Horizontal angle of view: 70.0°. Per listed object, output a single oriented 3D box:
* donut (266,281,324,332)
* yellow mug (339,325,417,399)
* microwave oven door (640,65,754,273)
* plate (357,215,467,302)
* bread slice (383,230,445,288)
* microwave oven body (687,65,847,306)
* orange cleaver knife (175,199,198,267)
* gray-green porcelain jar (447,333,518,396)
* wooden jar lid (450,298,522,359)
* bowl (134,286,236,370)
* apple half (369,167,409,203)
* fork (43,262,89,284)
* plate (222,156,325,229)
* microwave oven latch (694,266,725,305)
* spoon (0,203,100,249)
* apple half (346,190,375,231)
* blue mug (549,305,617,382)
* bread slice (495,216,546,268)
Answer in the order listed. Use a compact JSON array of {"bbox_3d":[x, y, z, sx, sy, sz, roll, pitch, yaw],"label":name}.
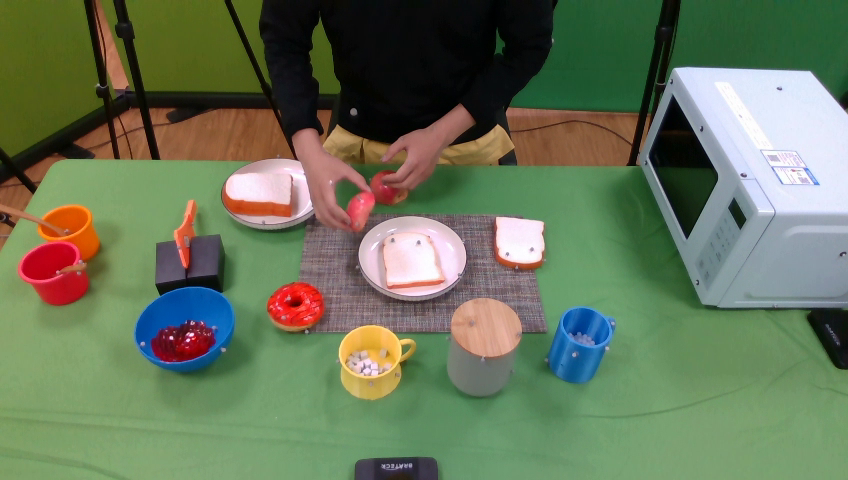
[{"bbox_3d":[-0.222,0.115,1.049,0.099,0.048,0.098,2,45,-2],"label":"donut"},{"bbox_3d":[-0.072,0.190,0.978,0.131,0.064,0.099,-17,50,-20],"label":"yellow mug"},{"bbox_3d":[0.523,-0.147,1.193,0.039,0.245,0.353,0,47,-3],"label":"microwave oven door"},{"bbox_3d":[-0.022,0.037,1.141,0.208,0.039,0.206,2,47,-2],"label":"plate"},{"bbox_3d":[-0.028,0.035,1.144,0.107,0.018,0.133,-7,48,-12],"label":"bread slice"},{"bbox_3d":[0.669,-0.111,1.176,0.326,0.261,0.439,0,46,-3],"label":"microwave oven body"},{"bbox_3d":[-0.438,-0.017,1.138,0.012,0.077,0.210,-14,27,-7],"label":"orange cleaver knife"},{"bbox_3d":[0.091,0.178,0.960,0.106,0.127,0.105,2,46,-2],"label":"gray-green porcelain jar"},{"bbox_3d":[0.093,0.135,0.914,0.108,0.021,0.107,2,48,-3],"label":"wooden jar lid"},{"bbox_3d":[-0.377,0.155,0.981,0.151,0.077,0.150,2,46,-2],"label":"bowl"},{"bbox_3d":[-0.073,-0.122,1.283,0.081,0.053,0.074,-29,58,-29],"label":"apple half"},{"bbox_3d":[-0.599,0.053,1.014,0.207,0.019,0.028,-14,30,45],"label":"fork"},{"bbox_3d":[-0.308,-0.095,1.251,0.209,0.038,0.208,3,47,-2],"label":"plate"},{"bbox_3d":[0.523,0.082,1.115,0.030,0.029,0.078,3,46,0],"label":"microwave oven latch"},{"bbox_3d":[-0.683,-0.031,1.088,0.195,0.021,0.041,33,33,-38],"label":"spoon"},{"bbox_3d":[-0.123,-0.059,1.087,0.033,0.081,0.081,23,39,-28],"label":"apple half"},{"bbox_3d":[0.269,0.166,0.998,0.116,0.106,0.082,-19,51,-21],"label":"blue mug"},{"bbox_3d":[0.194,0.002,1.205,0.105,0.019,0.131,5,45,2],"label":"bread slice"}]
